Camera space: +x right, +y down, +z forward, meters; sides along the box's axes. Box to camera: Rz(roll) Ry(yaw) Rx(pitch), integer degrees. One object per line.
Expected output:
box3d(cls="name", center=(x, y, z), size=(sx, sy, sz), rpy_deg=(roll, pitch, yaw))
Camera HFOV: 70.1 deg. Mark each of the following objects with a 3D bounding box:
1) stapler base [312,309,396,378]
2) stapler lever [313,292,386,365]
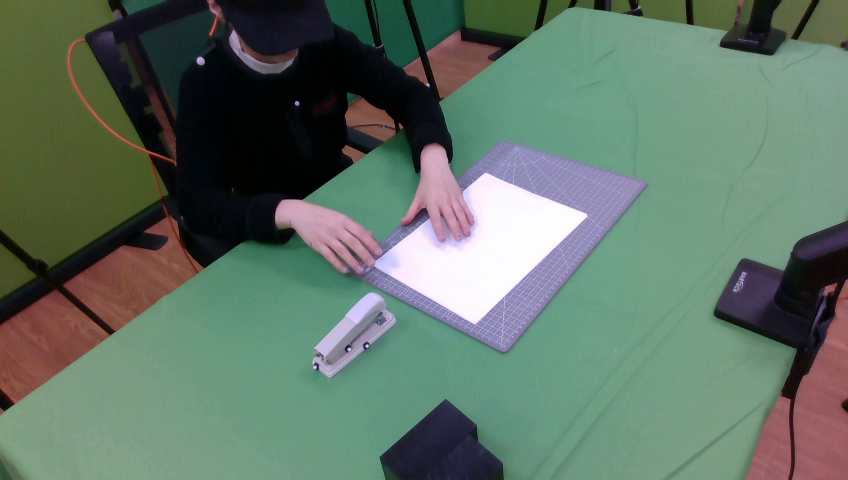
box3d(cls="stapler base", center=(-0.096, 0.133, 0.831), size=(0.041, 0.024, 0.131), rpy_deg=(25, 52, 36))
box3d(cls="stapler lever", center=(-0.099, 0.116, 0.814), size=(0.026, 0.040, 0.118), rpy_deg=(25, 51, 36))
